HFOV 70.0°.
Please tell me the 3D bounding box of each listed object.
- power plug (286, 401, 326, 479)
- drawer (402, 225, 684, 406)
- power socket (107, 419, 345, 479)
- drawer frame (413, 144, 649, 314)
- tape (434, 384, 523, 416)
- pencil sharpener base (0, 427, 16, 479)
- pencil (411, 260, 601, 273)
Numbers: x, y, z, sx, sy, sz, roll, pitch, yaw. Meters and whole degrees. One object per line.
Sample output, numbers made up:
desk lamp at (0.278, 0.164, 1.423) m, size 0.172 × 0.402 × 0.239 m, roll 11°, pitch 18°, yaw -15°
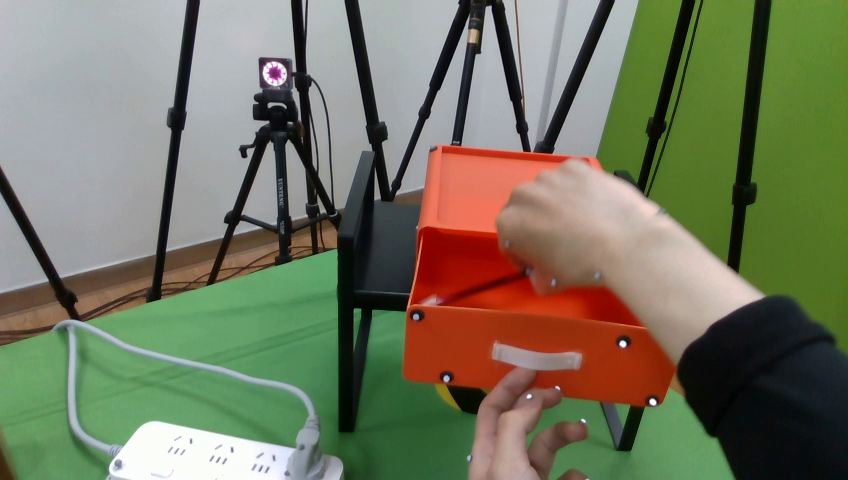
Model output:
power plug at (-0.102, 0.196, 0.573) m, size 0.035 × 0.053 × 0.072 m, roll 14°, pitch 32°, yaw 17°
drawer at (0.088, 0.038, 0.520) m, size 0.194 × 0.074 × 0.210 m, roll 5°, pitch 28°, yaw 1°
power socket at (-0.182, 0.219, 0.568) m, size 0.226 × 0.033 × 0.072 m, roll 8°, pitch 29°, yaw 8°
drawer frame at (0.095, -0.021, 0.621) m, size 0.202 × 0.083 × 0.212 m, roll 4°, pitch 28°, yaw 0°
tape at (0.068, 0.148, 0.716) m, size 0.117 × 0.053 × 0.116 m, roll 4°, pitch 30°, yaw -2°
pencil sharpener base at (-0.418, 0.177, 0.530) m, size 0.077 × 0.108 × 0.060 m, roll -20°, pitch 38°, yaw -35°
pencil at (0.073, 0.021, 0.488) m, size 0.195 × 0.012 × 0.012 m, roll 2°, pitch 26°, yaw -32°
